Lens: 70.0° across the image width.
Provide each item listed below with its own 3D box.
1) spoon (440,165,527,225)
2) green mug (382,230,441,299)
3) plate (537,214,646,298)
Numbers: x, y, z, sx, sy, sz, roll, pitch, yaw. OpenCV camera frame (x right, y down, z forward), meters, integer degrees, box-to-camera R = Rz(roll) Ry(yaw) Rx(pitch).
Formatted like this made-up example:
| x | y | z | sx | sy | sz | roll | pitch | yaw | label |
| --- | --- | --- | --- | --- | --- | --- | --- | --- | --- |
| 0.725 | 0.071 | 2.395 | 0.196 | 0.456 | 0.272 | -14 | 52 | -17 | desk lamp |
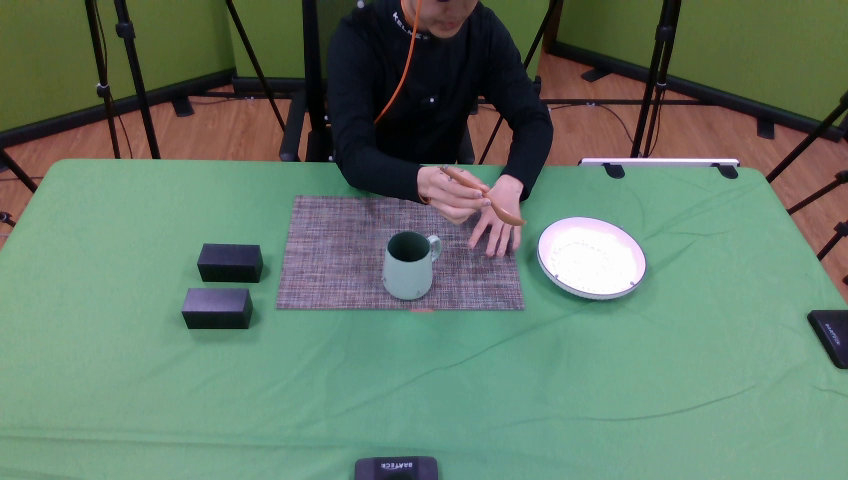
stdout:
| x | y | z | sx | sy | sz | roll | pitch | yaw | label |
| --- | --- | --- | --- | --- | --- | --- | --- | --- | --- |
| 0.095 | -0.069 | 0.959 | 0.041 | 0.195 | 0.021 | 6 | 66 | 56 | spoon |
| -0.017 | 0.037 | 1.097 | 0.125 | 0.105 | 0.092 | -34 | 57 | -31 | green mug |
| 0.321 | 0.035 | 1.176 | 0.209 | 0.038 | 0.208 | 2 | 47 | -2 | plate |
